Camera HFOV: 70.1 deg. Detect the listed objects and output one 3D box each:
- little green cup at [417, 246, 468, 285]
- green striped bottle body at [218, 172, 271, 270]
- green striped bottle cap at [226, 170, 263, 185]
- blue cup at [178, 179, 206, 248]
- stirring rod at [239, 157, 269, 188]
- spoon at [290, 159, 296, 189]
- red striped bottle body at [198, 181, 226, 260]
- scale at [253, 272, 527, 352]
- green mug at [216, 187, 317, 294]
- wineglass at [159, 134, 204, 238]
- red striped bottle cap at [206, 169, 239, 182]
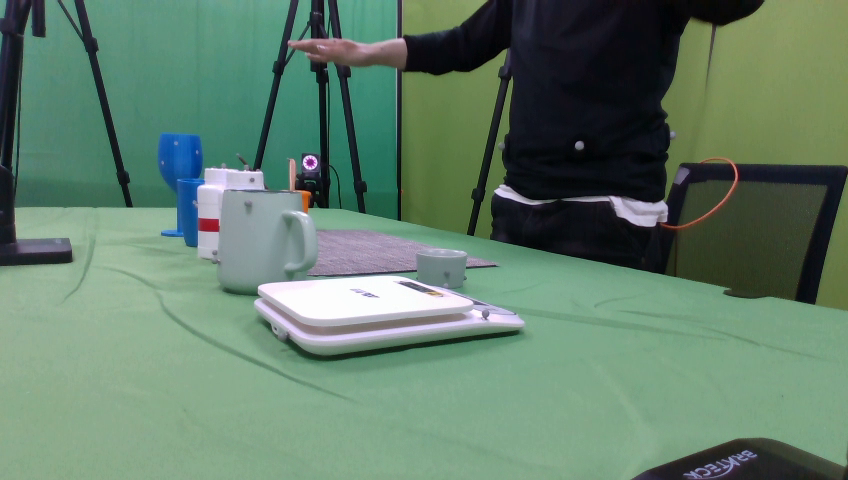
[{"bbox_3d":[0.021,0.029,0.702,0.061,0.038,0.061,1,6,0],"label":"little green cup"},{"bbox_3d":[-0.223,-0.025,0.755,0.063,0.119,0.063,1,7,0],"label":"green striped bottle body"},{"bbox_3d":[-0.222,-0.077,0.748,0.044,0.020,0.044,1,7,0],"label":"green striped bottle cap"},{"bbox_3d":[-0.335,-0.041,0.936,0.093,0.100,0.092,3,9,0],"label":"blue cup"},{"bbox_3d":[-0.309,-0.098,1.209,0.006,0.177,0.014,-39,29,-4],"label":"stirring rod"},{"bbox_3d":[-0.273,-0.102,1.252,0.042,0.193,0.021,7,-39,-17],"label":"spoon"},{"bbox_3d":[-0.275,-0.035,0.827,0.063,0.119,0.063,1,6,0],"label":"red striped bottle body"},{"bbox_3d":[-0.029,0.054,0.512,0.202,0.031,0.148,-2,8,-31],"label":"scale"},{"bbox_3d":[-0.157,0.000,0.629,0.124,0.105,0.093,7,9,37],"label":"green mug"},{"bbox_3d":[-0.415,-0.093,1.040,0.074,0.172,0.073,2,7,0],"label":"wineglass"},{"bbox_3d":[-0.273,-0.088,0.821,0.044,0.017,0.044,-2,5,1],"label":"red striped bottle cap"}]
